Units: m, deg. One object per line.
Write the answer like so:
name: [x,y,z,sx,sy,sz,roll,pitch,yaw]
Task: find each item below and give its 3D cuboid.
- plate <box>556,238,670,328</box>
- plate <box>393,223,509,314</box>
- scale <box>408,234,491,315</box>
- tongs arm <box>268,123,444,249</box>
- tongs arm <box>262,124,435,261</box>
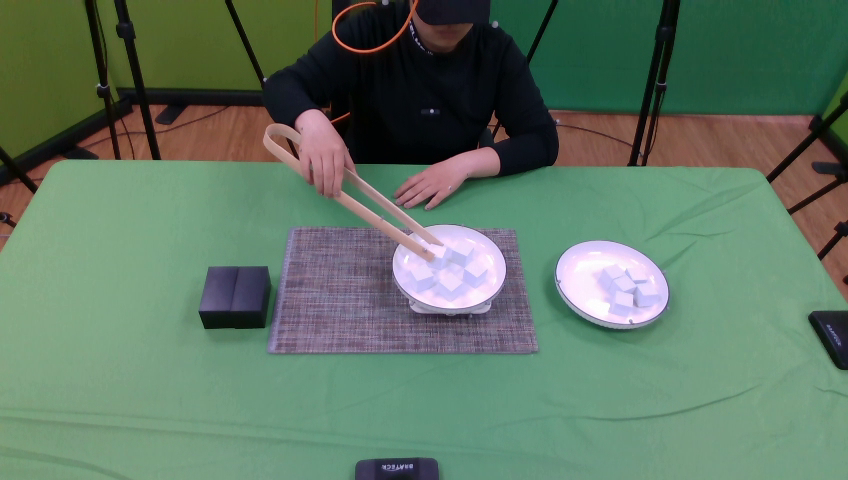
plate: [0.347,0.083,1.130,0.209,0.038,0.208,2,47,-2]
plate: [0.048,0.053,1.092,0.208,0.039,0.206,1,46,-1]
scale: [0.045,0.055,1.135,0.149,0.032,0.199,1,46,-3]
tongs arm: [-0.125,-0.101,1.117,0.387,0.028,0.028,36,51,2]
tongs arm: [-0.137,-0.087,1.100,0.385,0.026,0.050,33,47,0]
